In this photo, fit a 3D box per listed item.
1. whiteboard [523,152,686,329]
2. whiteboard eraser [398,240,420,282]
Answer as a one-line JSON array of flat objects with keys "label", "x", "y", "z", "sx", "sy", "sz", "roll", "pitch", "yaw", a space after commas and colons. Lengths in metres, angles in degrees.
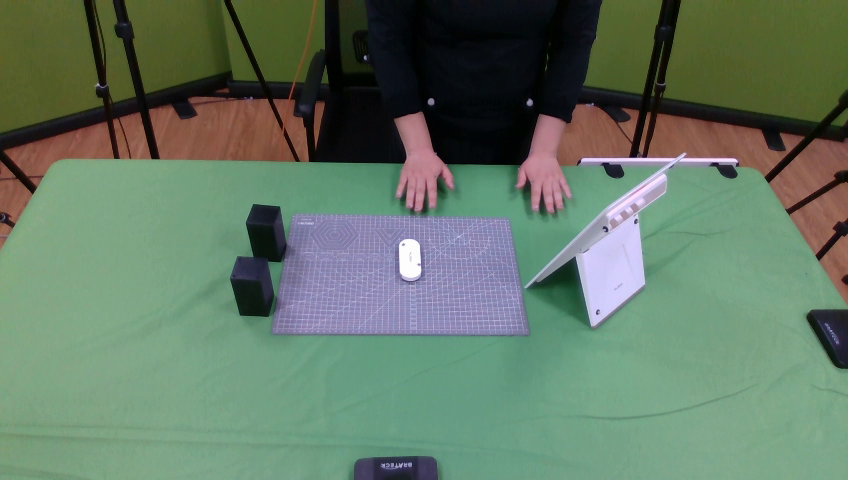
[{"label": "whiteboard", "x": 0.346, "y": 0.024, "z": 1.047, "sx": 0.217, "sy": 0.306, "sz": 0.143, "roll": -30, "pitch": 74, "yaw": -29}, {"label": "whiteboard eraser", "x": -0.029, "y": 0.039, "z": 1.156, "sx": 0.041, "sy": 0.019, "sz": 0.100, "roll": 0, "pitch": 45, "yaw": -3}]
